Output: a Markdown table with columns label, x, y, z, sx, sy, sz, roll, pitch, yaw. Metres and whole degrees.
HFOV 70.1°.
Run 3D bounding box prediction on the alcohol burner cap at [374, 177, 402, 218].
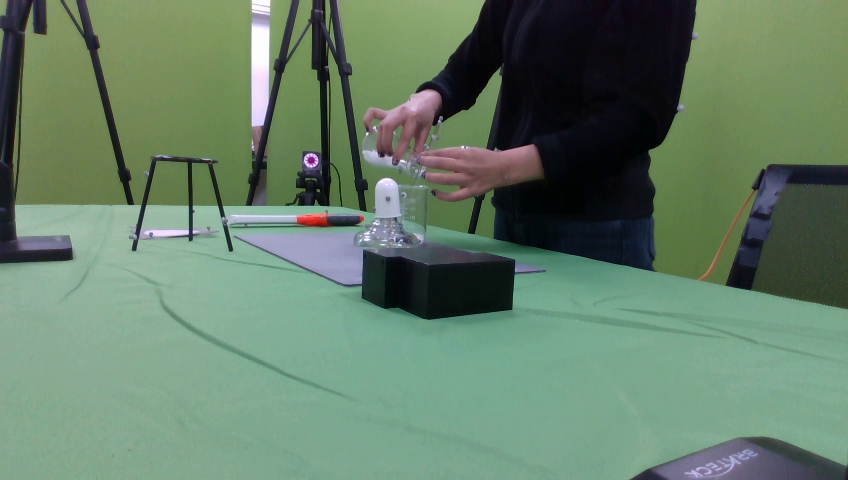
| label | x | y | z | sx | sy | sz | roll | pitch | yaw |
| --- | --- | --- | --- | --- | --- | --- | --- | --- | --- |
| alcohol burner cap | -0.044 | -0.049 | 0.704 | 0.034 | 0.048 | 0.034 | -4 | 10 | 1 |

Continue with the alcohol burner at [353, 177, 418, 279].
| label | x | y | z | sx | sy | sz | roll | pitch | yaw |
| --- | --- | --- | --- | --- | --- | --- | --- | --- | --- |
| alcohol burner | -0.044 | -0.014 | 0.710 | 0.078 | 0.119 | 0.078 | 4 | 9 | 0 |

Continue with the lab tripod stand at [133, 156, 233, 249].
| label | x | y | z | sx | sy | sz | roll | pitch | yaw |
| --- | --- | --- | --- | --- | --- | --- | --- | --- | --- |
| lab tripod stand | -0.342 | -0.054 | 0.878 | 0.148 | 0.131 | 0.148 | 4 | 6 | 0 |

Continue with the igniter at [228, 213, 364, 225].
| label | x | y | z | sx | sy | sz | roll | pitch | yaw |
| --- | --- | --- | --- | --- | --- | --- | --- | --- | --- |
| igniter | -0.252 | -0.043 | 1.227 | 0.278 | 0.025 | 0.057 | -2 | -2 | -32 |

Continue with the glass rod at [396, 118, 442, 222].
| label | x | y | z | sx | sy | sz | roll | pitch | yaw |
| --- | --- | --- | --- | --- | --- | --- | --- | --- | --- |
| glass rod | -0.010 | -0.109 | 0.982 | 0.008 | 0.199 | 0.008 | 18 | 31 | -11 |

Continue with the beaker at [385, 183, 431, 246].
| label | x | y | z | sx | sy | sz | roll | pitch | yaw |
| --- | --- | --- | --- | --- | --- | --- | --- | --- | --- |
| beaker | -0.031 | -0.043 | 1.000 | 0.084 | 0.100 | 0.074 | 4 | 7 | 15 |

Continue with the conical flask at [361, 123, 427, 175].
| label | x | y | z | sx | sy | sz | roll | pitch | yaw |
| --- | --- | --- | --- | --- | --- | --- | --- | --- | --- |
| conical flask | -0.047 | -0.146 | 1.024 | 0.076 | 0.075 | 0.121 | -4 | 27 | -42 |

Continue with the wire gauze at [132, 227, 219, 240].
| label | x | y | z | sx | sy | sz | roll | pitch | yaw |
| --- | --- | --- | --- | --- | --- | --- | --- | --- | --- |
| wire gauze | -0.421 | -0.014 | 1.024 | 0.122 | 0.011 | 0.124 | -2 | 7 | -34 |
